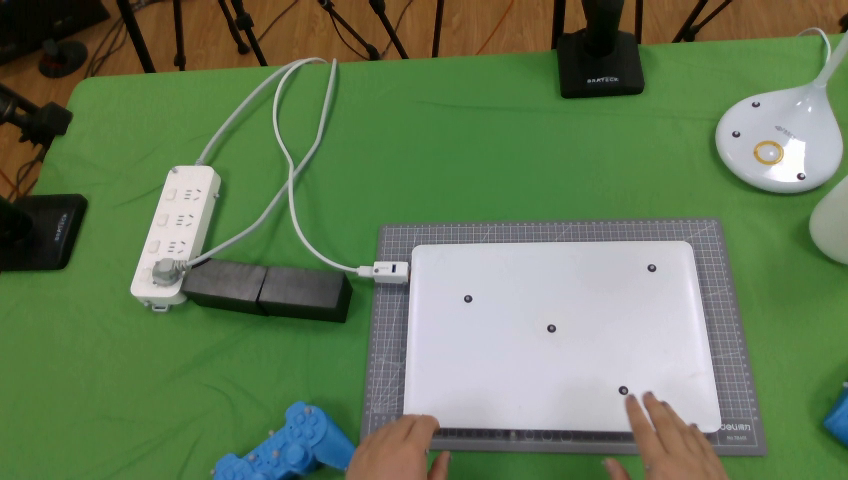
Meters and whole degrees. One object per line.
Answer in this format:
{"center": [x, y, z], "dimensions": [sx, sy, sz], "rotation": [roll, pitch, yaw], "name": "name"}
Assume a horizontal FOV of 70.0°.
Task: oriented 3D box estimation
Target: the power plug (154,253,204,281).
{"center": [-0.319, 0.041, 0.794], "dimensions": [0.072, 0.053, 0.035], "rotation": [12, 64, 10], "name": "power plug"}

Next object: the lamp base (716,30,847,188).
{"center": [0.478, -0.185, 0.756], "dimensions": [0.159, 0.182, 0.179], "rotation": [31, 68, 20], "name": "lamp base"}

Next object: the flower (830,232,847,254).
{"center": [0.523, -0.102, 0.604], "dimensions": [0.038, 0.364, 0.043], "rotation": [-6, 51, -15], "name": "flower"}

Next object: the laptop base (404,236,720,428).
{"center": [0.156, 0.106, 0.735], "dimensions": [0.354, 0.023, 0.233], "rotation": [-1, 66, 6], "name": "laptop base"}

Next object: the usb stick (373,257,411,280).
{"center": [-0.034, 0.036, 0.779], "dimensions": [0.059, 0.027, 0.021], "rotation": [3, 60, 4], "name": "usb stick"}

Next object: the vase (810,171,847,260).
{"center": [0.516, -0.056, 0.674], "dimensions": [0.098, 0.202, 0.097], "rotation": [-4, 61, 7], "name": "vase"}

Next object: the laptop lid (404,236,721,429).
{"center": [0.154, 0.103, 0.723], "dimensions": [0.356, 0.013, 0.240], "rotation": [1, 65, 7], "name": "laptop lid"}

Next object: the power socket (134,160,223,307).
{"center": [-0.340, -0.017, 0.849], "dimensions": [0.072, 0.033, 0.225], "rotation": [2, 62, 7], "name": "power socket"}

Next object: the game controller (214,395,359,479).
{"center": [-0.161, 0.247, 0.684], "dimensions": [0.155, 0.052, 0.096], "rotation": [-35, 61, -12], "name": "game controller"}

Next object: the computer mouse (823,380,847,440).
{"center": [0.487, 0.171, 0.651], "dimensions": [0.117, 0.041, 0.062], "rotation": [-41, 62, -19], "name": "computer mouse"}
